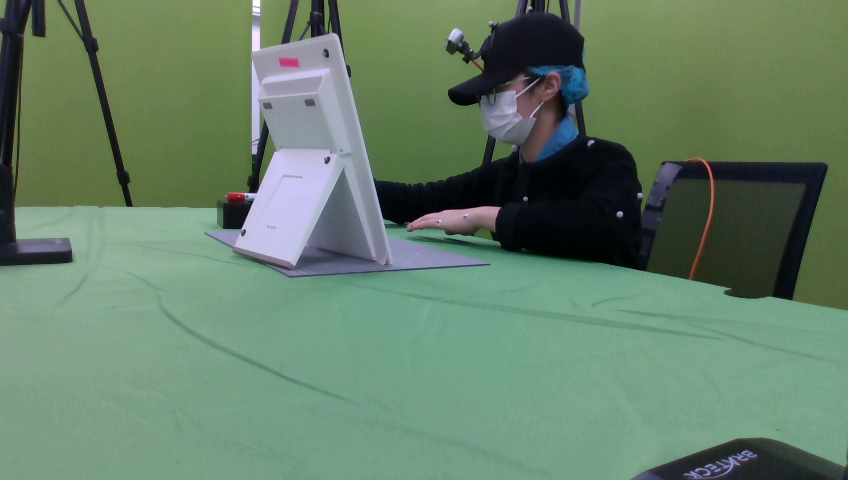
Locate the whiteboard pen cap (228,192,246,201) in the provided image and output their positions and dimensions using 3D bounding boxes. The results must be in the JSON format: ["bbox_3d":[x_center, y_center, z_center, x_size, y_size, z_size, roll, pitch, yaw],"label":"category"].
[{"bbox_3d":[-0.377,-0.088,1.217,0.032,0.017,0.017,0,7,-30],"label":"whiteboard pen cap"}]

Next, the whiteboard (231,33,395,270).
[{"bbox_3d":[-0.193,-0.094,0.805,0.144,0.305,0.216,-28,25,-35],"label":"whiteboard"}]

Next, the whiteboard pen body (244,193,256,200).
[{"bbox_3d":[-0.326,-0.090,1.247,0.141,0.017,0.017,-2,8,-30],"label":"whiteboard pen body"}]
